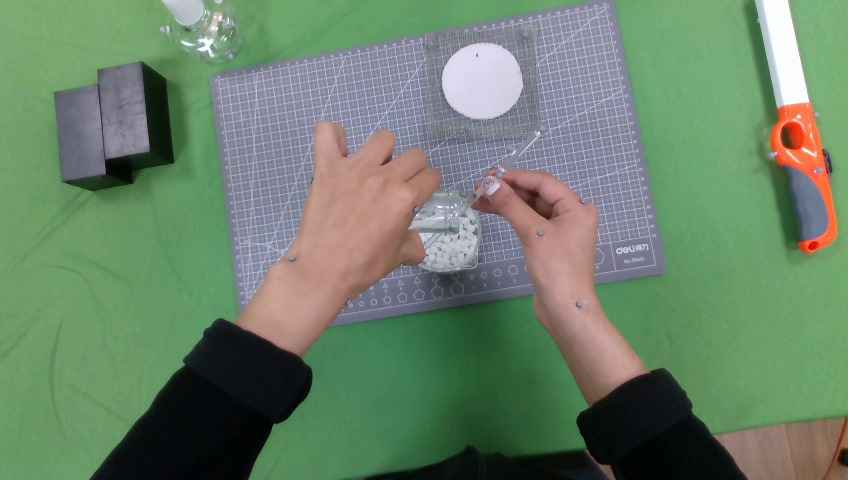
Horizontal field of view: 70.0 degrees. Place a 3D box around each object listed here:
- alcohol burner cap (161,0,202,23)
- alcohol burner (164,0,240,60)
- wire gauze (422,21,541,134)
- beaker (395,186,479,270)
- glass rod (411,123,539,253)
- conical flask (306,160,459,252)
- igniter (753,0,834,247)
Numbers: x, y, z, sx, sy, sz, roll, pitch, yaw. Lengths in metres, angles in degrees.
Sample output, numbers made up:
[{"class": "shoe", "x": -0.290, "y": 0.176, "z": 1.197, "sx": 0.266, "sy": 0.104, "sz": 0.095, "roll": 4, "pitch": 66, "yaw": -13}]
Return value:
[{"class": "alcohol burner cap", "x": -0.244, "y": -0.241, "z": 0.596, "sx": 0.034, "sy": 0.048, "sz": 0.033, "roll": -1, "pitch": 78, "yaw": 5}, {"class": "alcohol burner", "x": -0.241, "y": -0.235, "z": 0.631, "sx": 0.078, "sy": 0.119, "sz": 0.077, "roll": 0, "pitch": 86, "yaw": 7}, {"class": "wire gauze", "x": 0.061, "y": -0.173, "z": 0.650, "sx": 0.125, "sy": 0.011, "sz": 0.121, "roll": -1, "pitch": 85, "yaw": 2}, {"class": "beaker", "x": 0.020, "y": -0.005, "z": 0.593, "sx": 0.084, "sy": 0.100, "sz": 0.074, "roll": 44, "pitch": 90, "yaw": 7}, {"class": "glass rod", "x": 0.035, "y": -0.036, "z": 0.514, "sx": 0.008, "sy": 0.200, "sz": 0.008, "roll": 16, "pitch": 54, "yaw": -23}, {"class": "conical flask", "x": -0.034, "y": -0.027, "z": 0.501, "sx": 0.122, "sy": 0.075, "sz": 0.075, "roll": 1, "pitch": 84, "yaw": -7}, {"class": "igniter", "x": 0.371, "y": -0.131, "z": 0.612, "sx": 0.057, "sy": 0.025, "sz": 0.275, "roll": -7, "pitch": 84, "yaw": -5}]
